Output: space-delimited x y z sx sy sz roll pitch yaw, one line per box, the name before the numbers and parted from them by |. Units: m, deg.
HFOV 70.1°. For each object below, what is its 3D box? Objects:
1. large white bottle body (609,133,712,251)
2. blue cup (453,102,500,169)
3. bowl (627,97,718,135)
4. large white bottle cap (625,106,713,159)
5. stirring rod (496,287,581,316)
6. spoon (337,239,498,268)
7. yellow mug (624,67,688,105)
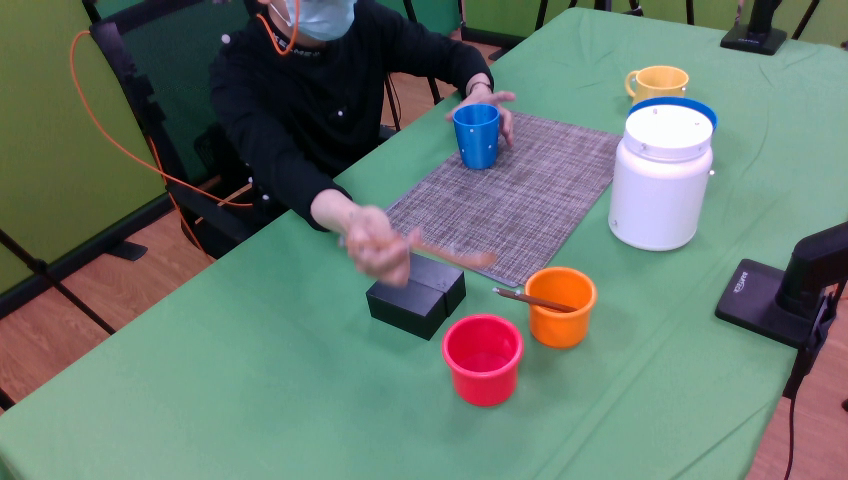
large white bottle body | 0.351 -0.089 0.904 0.130 0.185 0.130 -5 41 4
blue cup | 0.100 -0.188 1.115 0.092 0.100 0.092 -4 39 4
bowl | 0.439 -0.187 1.087 0.151 0.077 0.150 -4 41 4
large white bottle cap | 0.342 -0.153 0.848 0.115 0.018 0.114 -4 41 4
stirring rod | 0.150 0.080 0.774 0.178 0.006 0.014 18 21 -42
spoon | -0.005 0.012 0.702 0.195 0.021 0.041 10 4 -17
yellow mug | 0.464 -0.305 1.230 0.100 0.064 0.129 -34 46 -27
